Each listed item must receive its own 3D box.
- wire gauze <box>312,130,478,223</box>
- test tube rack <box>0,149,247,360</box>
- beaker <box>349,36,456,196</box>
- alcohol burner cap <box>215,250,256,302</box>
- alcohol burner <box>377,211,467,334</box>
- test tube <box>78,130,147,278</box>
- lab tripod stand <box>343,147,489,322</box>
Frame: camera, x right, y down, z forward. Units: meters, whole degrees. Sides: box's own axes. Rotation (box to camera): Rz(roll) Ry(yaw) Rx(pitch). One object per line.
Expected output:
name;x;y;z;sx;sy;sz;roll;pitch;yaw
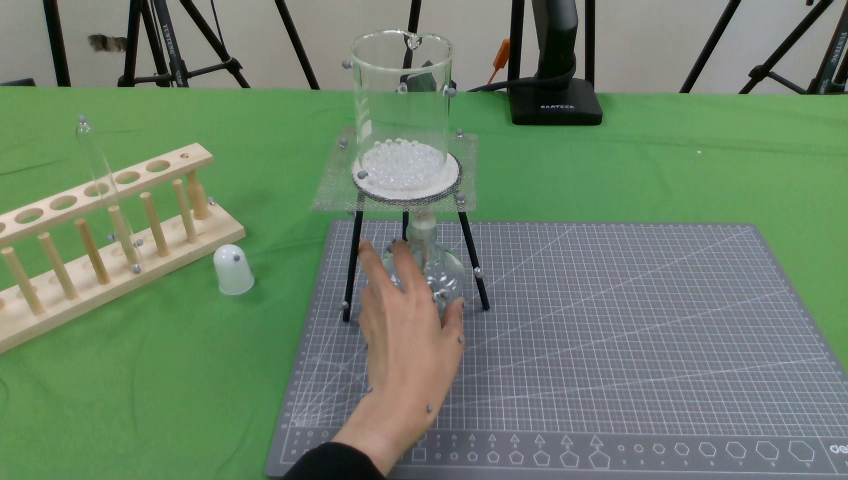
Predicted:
wire gauze;-0.018;-0.053;0.483;0.121;0.011;0.124;3;41;3
test tube rack;-0.296;0.006;0.561;0.242;0.086;0.066;-30;47;-31
beaker;-0.015;-0.092;0.454;0.074;0.101;0.083;8;39;8
alcohol burner cap;-0.177;0.030;0.565;0.034;0.048;0.033;0;40;0
alcohol burner;-0.001;0.023;0.511;0.078;0.120;0.077;1;41;-1
test tube;-0.272;-0.027;0.532;0.017;0.151;0.017;0;38;0
lab tripod stand;-0.009;-0.002;0.526;0.148;0.132;0.147;1;38;-1
